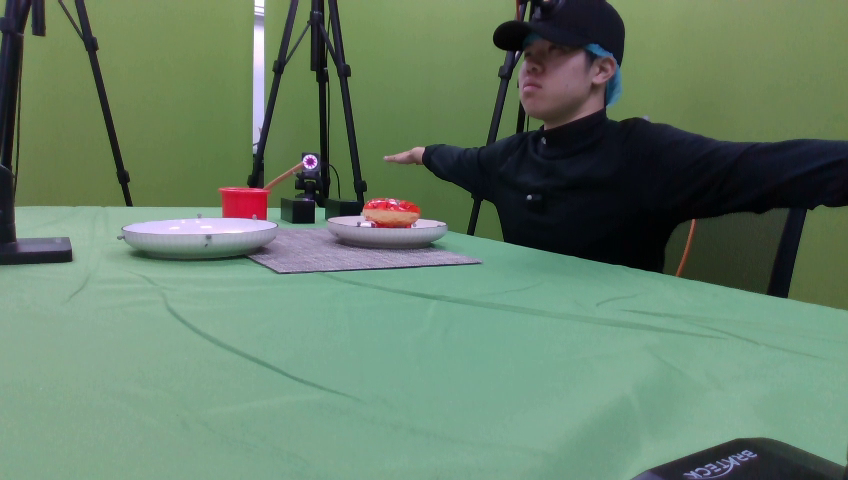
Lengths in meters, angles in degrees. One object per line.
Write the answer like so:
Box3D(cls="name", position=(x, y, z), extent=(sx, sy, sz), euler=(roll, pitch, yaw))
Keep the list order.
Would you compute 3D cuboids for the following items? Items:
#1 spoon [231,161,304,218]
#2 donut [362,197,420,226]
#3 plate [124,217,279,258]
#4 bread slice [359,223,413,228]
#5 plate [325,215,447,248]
Box3D(cls="spoon", position=(-0.314, -0.096, 1.192), extent=(0.194, 0.022, 0.041), euler=(-42, 13, -5))
Box3D(cls="donut", position=(-0.056, -0.048, 1.024), extent=(0.099, 0.048, 0.099), euler=(4, 8, 0))
Box3D(cls="plate", position=(-0.315, -0.004, 0.870), extent=(0.208, 0.039, 0.207), euler=(1, 8, 0))
Box3D(cls="bread slice", position=(-0.061, -0.013, 1.034), extent=(0.105, 0.019, 0.131), euler=(0, 9, -19))
Box3D(cls="plate", position=(-0.065, -0.015, 1.035), extent=(0.209, 0.038, 0.209), euler=(3, 8, 0))
